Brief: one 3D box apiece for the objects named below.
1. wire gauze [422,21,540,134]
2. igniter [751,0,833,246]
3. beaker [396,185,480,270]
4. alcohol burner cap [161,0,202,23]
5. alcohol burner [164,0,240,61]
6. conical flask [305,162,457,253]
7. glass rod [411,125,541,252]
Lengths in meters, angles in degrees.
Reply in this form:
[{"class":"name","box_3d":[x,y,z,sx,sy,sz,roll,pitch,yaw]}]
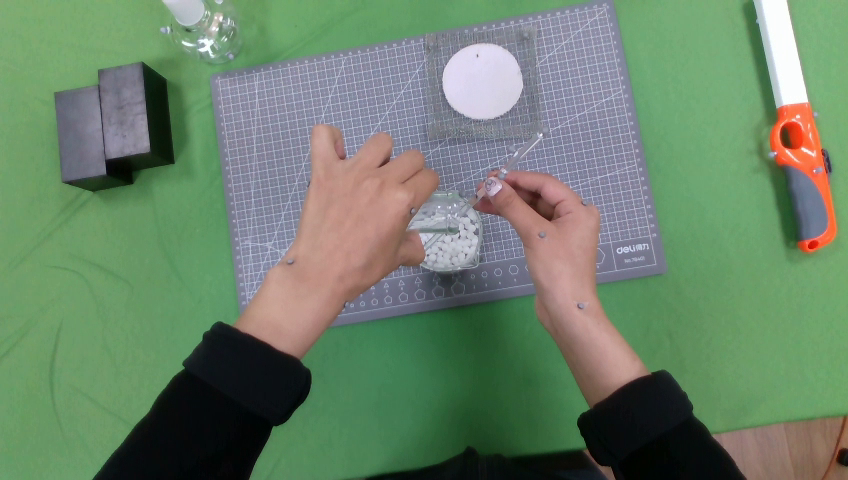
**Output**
[{"class":"wire gauze","box_3d":[0.061,-0.173,0.652,0.125,0.011,0.121,-2,84,2]},{"class":"igniter","box_3d":[0.372,-0.132,0.615,0.057,0.025,0.275,-7,84,-5]},{"class":"beaker","box_3d":[0.020,-0.006,0.594,0.084,0.100,0.074,44,90,7]},{"class":"alcohol burner cap","box_3d":[-0.244,-0.241,0.596,0.034,0.048,0.033,-1,78,5]},{"class":"alcohol burner","box_3d":[-0.241,-0.235,0.632,0.078,0.119,0.077,0,86,6]},{"class":"conical flask","box_3d":[-0.034,-0.026,0.503,0.122,0.075,0.075,1,84,-4]},{"class":"glass rod","box_3d":[0.036,-0.036,0.514,0.008,0.200,0.008,16,55,-24]}]
